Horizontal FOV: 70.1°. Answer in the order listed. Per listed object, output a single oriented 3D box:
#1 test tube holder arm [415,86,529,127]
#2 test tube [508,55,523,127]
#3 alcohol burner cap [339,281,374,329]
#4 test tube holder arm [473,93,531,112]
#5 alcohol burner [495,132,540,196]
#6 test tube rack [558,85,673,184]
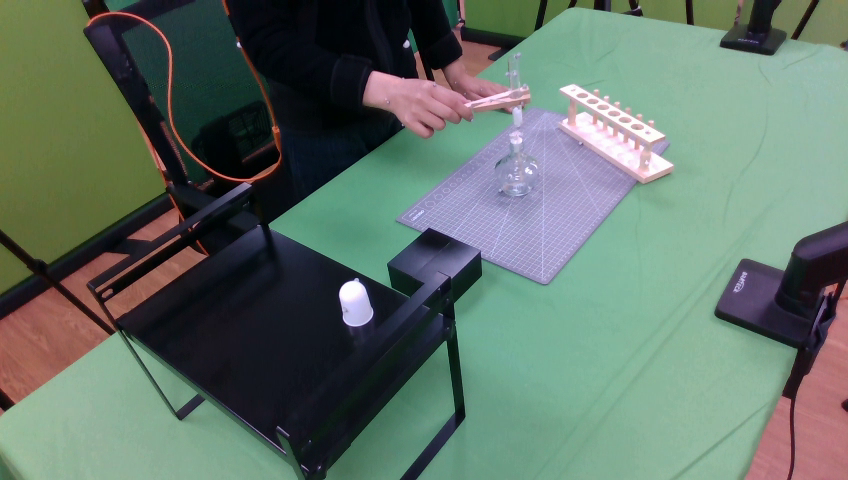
[{"bbox_3d":[0.074,-0.204,0.927,0.178,0.015,0.013,-14,59,4],"label":"test tube holder arm"},{"bbox_3d":[0.138,-0.220,0.913,0.017,0.151,0.017,-5,61,9],"label":"test tube"},{"bbox_3d":[-0.071,0.063,0.617,0.034,0.048,0.033,-4,39,4],"label":"alcohol burner cap"},{"bbox_3d":[0.118,-0.208,0.920,0.088,0.015,0.010,-7,60,8],"label":"test tube holder arm"},{"bbox_3d":[0.159,-0.135,1.035,0.078,0.119,0.077,-5,42,5],"label":"alcohol burner"},{"bbox_3d":[0.347,-0.203,1.109,0.067,0.085,0.240,-22,42,-17],"label":"test tube rack"}]
